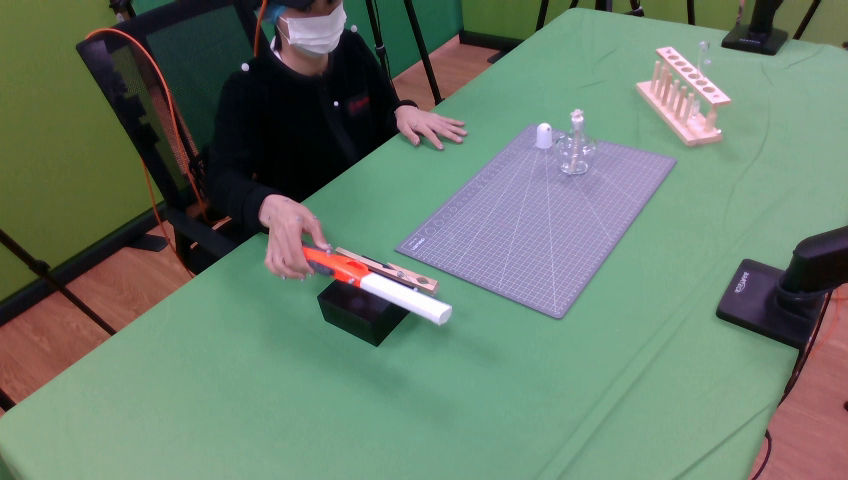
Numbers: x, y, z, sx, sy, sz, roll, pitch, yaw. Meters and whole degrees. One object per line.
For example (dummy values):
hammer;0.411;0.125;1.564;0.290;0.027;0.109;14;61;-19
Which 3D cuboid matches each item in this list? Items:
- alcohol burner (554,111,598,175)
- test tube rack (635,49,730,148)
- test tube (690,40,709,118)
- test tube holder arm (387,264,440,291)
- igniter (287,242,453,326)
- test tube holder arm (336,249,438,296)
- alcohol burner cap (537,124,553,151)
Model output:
alcohol burner;0.270;-0.175;1.066;0.078;0.119;0.077;-4;42;4
test tube rack;0.497;-0.283;1.185;0.067;0.085;0.240;-10;40;-2
test tube;0.510;-0.295;1.120;0.017;0.151;0.017;-6;39;6
test tube holder arm;-0.017;0.052;0.842;0.087;0.015;0.010;18;56;28
igniter;-0.084;0.053;0.809;0.274;0.025;0.057;20;25;29
test tube holder arm;-0.057;0.044;0.861;0.177;0.015;0.013;18;56;28
alcohol burner cap;0.232;-0.199;1.158;0.034;0.048;0.033;-5;40;5
